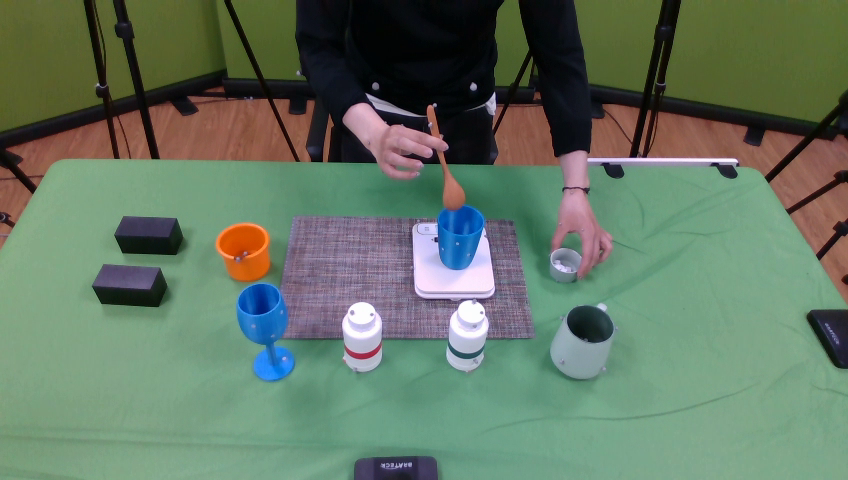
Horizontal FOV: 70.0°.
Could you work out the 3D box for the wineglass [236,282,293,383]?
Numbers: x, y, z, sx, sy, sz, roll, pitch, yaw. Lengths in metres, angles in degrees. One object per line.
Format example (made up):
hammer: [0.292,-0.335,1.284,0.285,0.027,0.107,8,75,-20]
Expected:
wineglass: [-0.243,0.143,0.934,0.074,0.173,0.073,2,46,-2]

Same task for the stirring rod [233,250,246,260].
stirring rod: [-0.324,0.026,1.067,0.014,0.006,0.176,-9,5,-13]

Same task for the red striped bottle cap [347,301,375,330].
red striped bottle cap: [-0.097,0.116,0.934,0.044,0.018,0.044,2,49,-2]

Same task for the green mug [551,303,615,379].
green mug: [0.271,0.157,1.007,0.092,0.105,0.125,27,50,21]

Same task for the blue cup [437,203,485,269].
blue cup: [0.062,-0.001,1.098,0.093,0.101,0.092,2,44,-2]

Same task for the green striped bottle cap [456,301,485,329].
green striped bottle cap: [0.073,0.116,0.943,0.044,0.020,0.044,3,46,-3]

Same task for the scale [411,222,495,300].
scale: [0.052,0.031,1.158,0.149,0.032,0.199,1,46,-4]

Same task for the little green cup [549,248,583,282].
little green cup: [0.268,0.049,1.156,0.061,0.039,0.061,1,49,-1]

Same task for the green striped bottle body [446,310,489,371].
green striped bottle body: [0.070,0.155,0.984,0.063,0.120,0.063,2,46,-2]

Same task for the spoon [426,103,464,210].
spoon: [0.029,-0.134,1.006,0.041,0.194,0.021,-22,26,-9]

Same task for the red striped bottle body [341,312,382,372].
red striped bottle body: [-0.100,0.154,0.972,0.063,0.120,0.062,2,46,-1]
